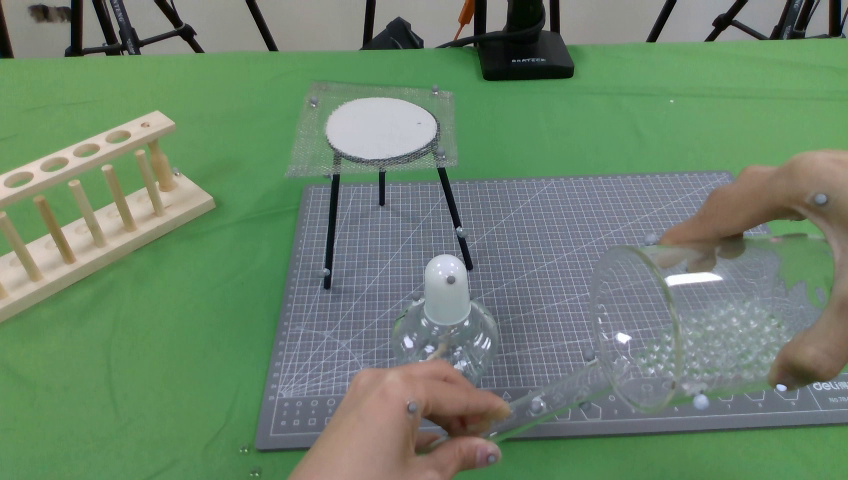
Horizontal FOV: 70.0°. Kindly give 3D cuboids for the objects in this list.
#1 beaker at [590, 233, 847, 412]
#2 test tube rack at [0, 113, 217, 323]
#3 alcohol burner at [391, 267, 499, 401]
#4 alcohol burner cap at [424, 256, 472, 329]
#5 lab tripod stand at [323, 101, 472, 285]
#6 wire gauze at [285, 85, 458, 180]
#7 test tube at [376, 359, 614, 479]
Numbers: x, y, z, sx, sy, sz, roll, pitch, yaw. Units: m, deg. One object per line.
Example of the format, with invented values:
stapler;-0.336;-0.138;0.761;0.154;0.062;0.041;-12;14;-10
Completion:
beaker;0.138;0.037;0.280;0.100;0.084;0.073;-6;52;-11
test tube rack;-0.315;-0.019;0.533;0.066;0.086;0.242;33;52;31
alcohol burner;0.015;0.058;0.421;0.078;0.120;0.077;0;44;0
alcohol burner cap;0.015;0.032;0.397;0.034;0.048;0.033;-3;42;3
lab tripod stand;-0.027;-0.038;0.512;0.148;0.132;0.147;1;41;0
wire gauze;-0.036;-0.086;0.465;0.121;0.011;0.124;1;43;0
test tube;0.033;0.103;0.326;0.150;0.017;0.017;-33;38;21
